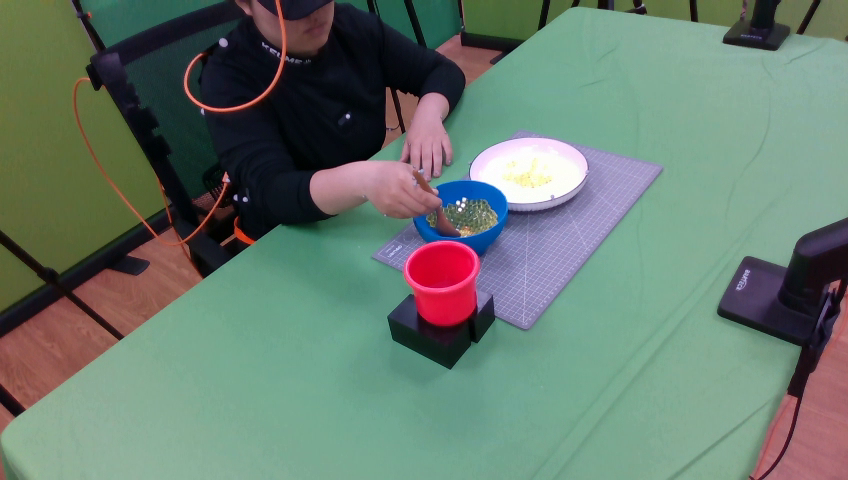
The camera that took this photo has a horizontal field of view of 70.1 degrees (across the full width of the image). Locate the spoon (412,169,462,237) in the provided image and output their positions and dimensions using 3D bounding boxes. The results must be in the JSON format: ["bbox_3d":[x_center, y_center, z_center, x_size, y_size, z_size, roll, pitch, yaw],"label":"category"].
[{"bbox_3d":[0.016,-0.050,0.882,0.041,0.195,0.021,13,65,26],"label":"spoon"}]

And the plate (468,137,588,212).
[{"bbox_3d":[0.182,-0.112,1.064,0.207,0.039,0.206,-5,40,5],"label":"plate"}]

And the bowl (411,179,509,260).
[{"bbox_3d":[0.060,-0.022,0.949,0.151,0.077,0.150,-5,40,5],"label":"bowl"}]
